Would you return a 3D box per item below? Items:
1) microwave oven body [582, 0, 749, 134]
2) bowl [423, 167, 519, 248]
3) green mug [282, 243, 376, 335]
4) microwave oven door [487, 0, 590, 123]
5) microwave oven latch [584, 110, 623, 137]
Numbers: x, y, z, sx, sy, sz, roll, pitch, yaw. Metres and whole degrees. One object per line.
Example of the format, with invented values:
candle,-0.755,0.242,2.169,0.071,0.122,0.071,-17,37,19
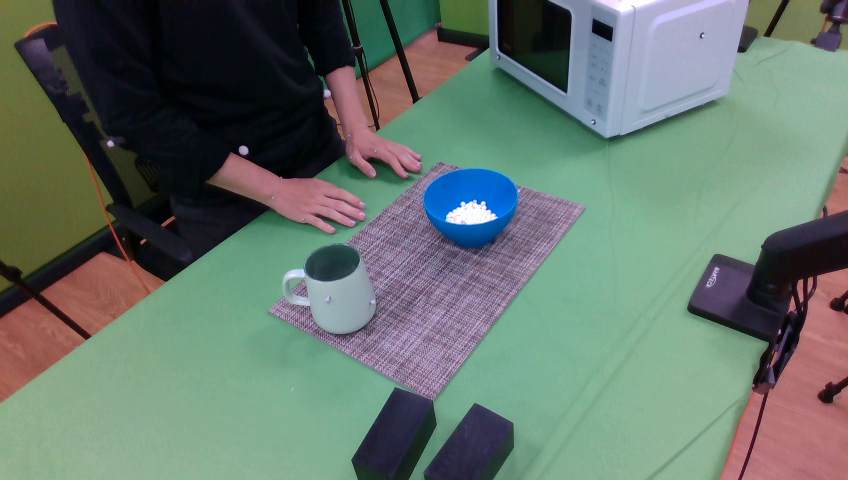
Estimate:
microwave oven body,0.382,-0.445,1.246,0.327,0.261,0.437,-22,42,-16
bowl,0.076,-0.041,0.958,0.151,0.077,0.150,-4,40,4
green mug,-0.134,0.069,0.838,0.125,0.105,0.092,-2,41,6
microwave oven door,0.232,-0.420,1.231,0.039,0.245,0.352,-22,43,-16
microwave oven latch,0.337,-0.222,1.142,0.030,0.029,0.078,-21,42,-14
